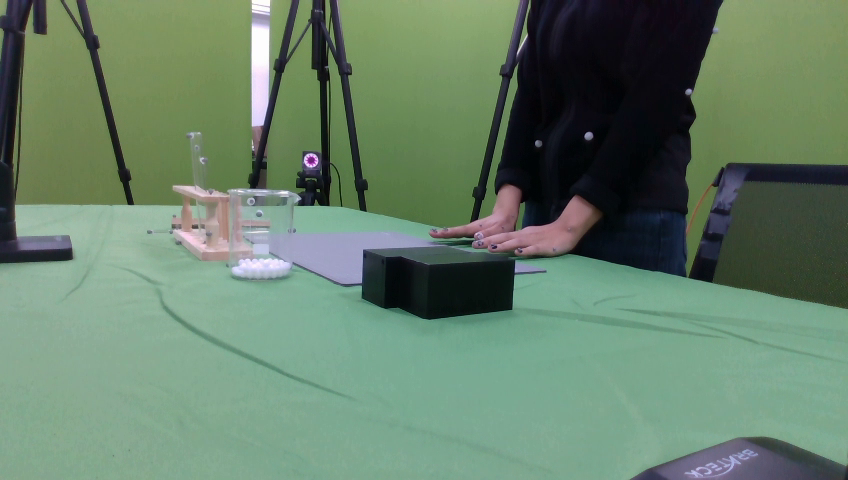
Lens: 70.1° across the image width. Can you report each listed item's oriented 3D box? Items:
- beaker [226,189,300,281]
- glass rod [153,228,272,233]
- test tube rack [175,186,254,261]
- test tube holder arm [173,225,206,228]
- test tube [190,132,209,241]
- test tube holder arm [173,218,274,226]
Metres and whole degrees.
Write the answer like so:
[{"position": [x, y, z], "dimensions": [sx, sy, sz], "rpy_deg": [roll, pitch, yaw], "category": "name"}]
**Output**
[{"position": [-0.184, -0.007, 0.694], "dimensions": [0.084, 0.100, 0.073], "rpy_deg": [-1, 8, -29], "category": "beaker"}, {"position": [-0.368, -0.017, 1.065], "dimensions": [0.201, 0.008, 0.008], "rpy_deg": [-2, 8, -27], "category": "glass rod"}, {"position": [-0.314, -0.031, 0.889], "dimensions": [0.067, 0.085, 0.241], "rpy_deg": [-2, 8, -30], "category": "test tube rack"}, {"position": [-0.414, -0.030, 1.113], "dimensions": [0.088, 0.015, 0.010], "rpy_deg": [-1, -21, -25], "category": "test tube holder arm"}, {"position": [-0.308, -0.074, 0.840], "dimensions": [0.017, 0.150, 0.017], "rpy_deg": [-4, 6, 1], "category": "test tube"}, {"position": [-0.371, -0.033, 1.128], "dimensions": [0.179, 0.015, 0.013], "rpy_deg": [-1, -21, -25], "category": "test tube holder arm"}]
